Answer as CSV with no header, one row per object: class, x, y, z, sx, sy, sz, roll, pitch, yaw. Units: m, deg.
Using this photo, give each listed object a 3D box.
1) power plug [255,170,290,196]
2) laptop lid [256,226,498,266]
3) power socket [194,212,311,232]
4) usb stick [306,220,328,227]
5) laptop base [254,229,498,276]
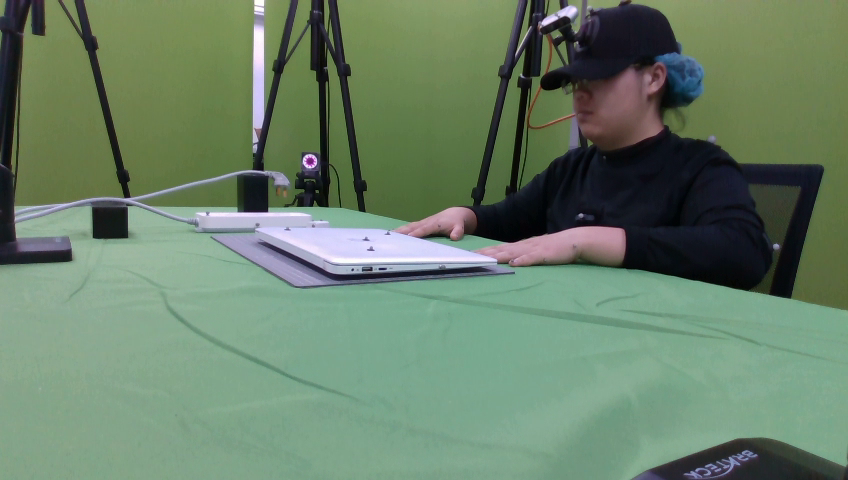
power plug,-0.323,-0.120,1.285,0.073,0.052,0.035,2,-13,-13
laptop lid,-0.085,0.004,0.878,0.243,0.013,0.355,1,7,-29
power socket,-0.322,-0.037,1.153,0.228,0.032,0.072,-2,8,-34
usb stick,-0.194,-0.020,1.075,0.021,0.027,0.059,5,10,22
laptop base,-0.088,0.016,0.878,0.237,0.023,0.352,2,6,-31
